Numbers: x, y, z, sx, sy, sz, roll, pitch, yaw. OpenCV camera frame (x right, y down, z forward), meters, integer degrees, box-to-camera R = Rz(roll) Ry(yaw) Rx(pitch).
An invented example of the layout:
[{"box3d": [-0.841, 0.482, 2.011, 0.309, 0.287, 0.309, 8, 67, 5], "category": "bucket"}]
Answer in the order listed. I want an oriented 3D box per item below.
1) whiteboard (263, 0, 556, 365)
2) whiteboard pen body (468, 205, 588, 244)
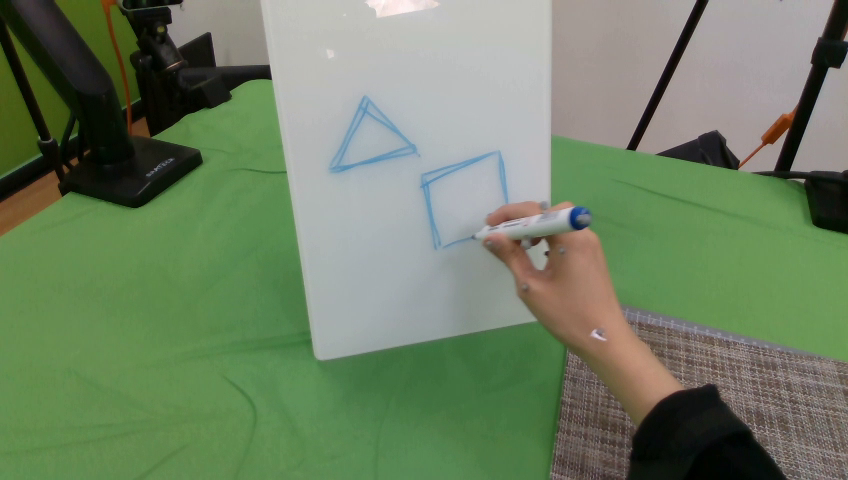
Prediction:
[{"box3d": [-0.011, -0.075, 0.542, 0.218, 0.307, 0.142, -8, 20, -12], "category": "whiteboard"}, {"box3d": [0.067, -0.008, 0.436, 0.017, 0.017, 0.140, -20, 4, -25], "category": "whiteboard pen body"}]
